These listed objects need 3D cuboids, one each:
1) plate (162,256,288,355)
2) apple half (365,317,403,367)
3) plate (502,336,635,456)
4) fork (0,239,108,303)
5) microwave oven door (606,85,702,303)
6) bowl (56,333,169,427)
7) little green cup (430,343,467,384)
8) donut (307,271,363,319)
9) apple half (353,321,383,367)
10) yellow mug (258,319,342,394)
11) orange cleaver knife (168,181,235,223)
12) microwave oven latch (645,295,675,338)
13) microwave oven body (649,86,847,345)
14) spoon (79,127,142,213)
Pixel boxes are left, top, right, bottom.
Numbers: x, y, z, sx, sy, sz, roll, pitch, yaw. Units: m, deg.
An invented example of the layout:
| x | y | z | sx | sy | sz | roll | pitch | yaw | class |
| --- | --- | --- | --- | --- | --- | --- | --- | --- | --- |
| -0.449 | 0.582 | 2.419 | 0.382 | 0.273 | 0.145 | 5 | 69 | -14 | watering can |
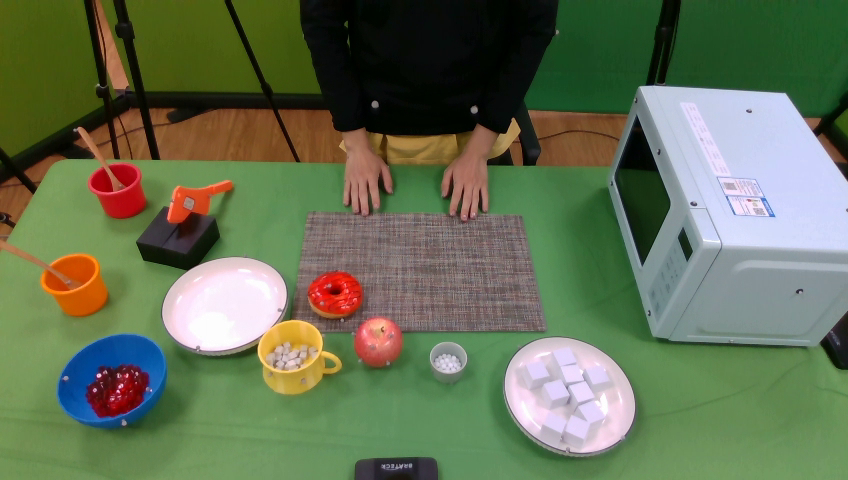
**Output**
| x | y | z | sx | sy | sz | roll | pitch | yaw | class |
| --- | --- | --- | --- | --- | --- | --- | --- | --- | --- |
| -0.341 | 0.115 | 1.051 | 0.209 | 0.038 | 0.208 | 2 | 46 | -2 | plate |
| -0.063 | 0.165 | 1.000 | 0.053 | 0.075 | 0.080 | -16 | 45 | -24 | apple half |
| 0.225 | 0.248 | 0.963 | 0.208 | 0.039 | 0.206 | 2 | 46 | -2 | plate |
| -0.633 | 0.048 | 1.017 | 0.208 | 0.018 | 0.028 | 40 | 40 | -27 | fork |
| 0.423 | -0.094 | 1.140 | 0.039 | 0.245 | 0.353 | 2 | 46 | -1 | microwave oven door |
| -0.456 | 0.223 | 0.911 | 0.151 | 0.077 | 0.150 | 3 | 46 | -2 | bowl |
| 0.039 | 0.203 | 0.994 | 0.061 | 0.039 | 0.061 | 2 | 46 | -2 | little green cup |
| -0.157 | 0.097 | 1.072 | 0.099 | 0.048 | 0.098 | 3 | 45 | -3 | donut |
| -0.098 | 0.177 | 0.984 | 0.033 | 0.081 | 0.081 | -17 | 49 | -25 | apple half |
| -0.196 | 0.189 | 0.972 | 0.131 | 0.064 | 0.099 | 9 | 46 | 3 | yellow mug |
| -0.436 | -0.078 | 1.196 | 0.012 | 0.077 | 0.211 | 16 | 15 | 10 | orange cleaver knife |
| 0.411 | 0.134 | 1.061 | 0.030 | 0.029 | 0.078 | 3 | 45 | 0 | microwave oven latch |
| 0.567 | -0.053 | 1.118 | 0.326 | 0.261 | 0.439 | 2 | 45 | -1 | microwave oven body |
| -0.624 | -0.139 | 1.203 | 0.041 | 0.021 | 0.194 | -33 | 100 | -26 | spoon |
